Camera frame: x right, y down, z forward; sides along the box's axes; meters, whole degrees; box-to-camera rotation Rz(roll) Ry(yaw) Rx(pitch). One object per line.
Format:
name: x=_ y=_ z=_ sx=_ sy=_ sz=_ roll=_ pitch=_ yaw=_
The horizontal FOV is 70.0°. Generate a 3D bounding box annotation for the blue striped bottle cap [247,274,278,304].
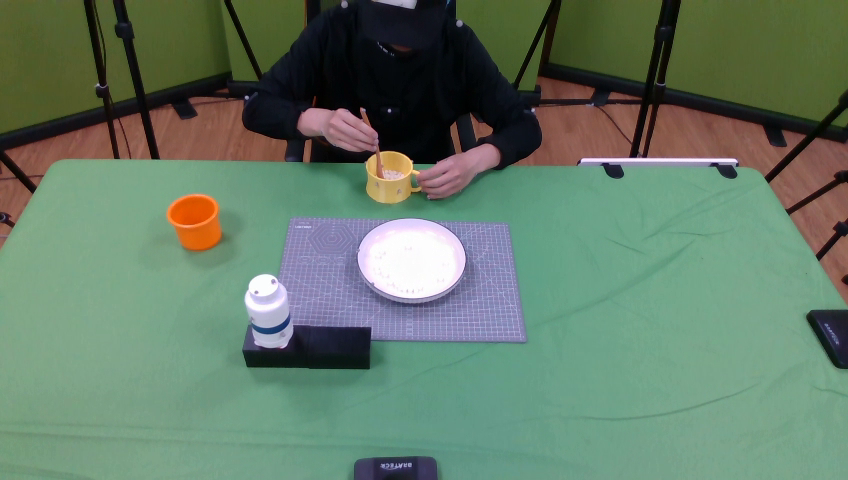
blue striped bottle cap: x=-0.239 y=0.072 z=0.900 sx=0.044 sy=0.021 sz=0.044 roll=4 pitch=46 yaw=-4

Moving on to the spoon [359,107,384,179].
spoon: x=-0.100 y=-0.184 z=1.235 sx=0.021 sy=0.195 sz=0.041 roll=-19 pitch=35 yaw=-9

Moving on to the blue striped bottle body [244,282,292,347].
blue striped bottle body: x=-0.241 y=0.108 z=0.937 sx=0.063 sy=0.121 sz=0.062 roll=2 pitch=46 yaw=-2

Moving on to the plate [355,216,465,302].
plate: x=-0.027 y=0.039 z=1.144 sx=0.208 sy=0.039 sz=0.206 roll=2 pitch=46 yaw=-2

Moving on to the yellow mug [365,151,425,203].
yellow mug: x=-0.061 y=-0.133 z=1.291 sx=0.131 sy=0.064 sz=0.099 roll=9 pitch=46 yaw=3
